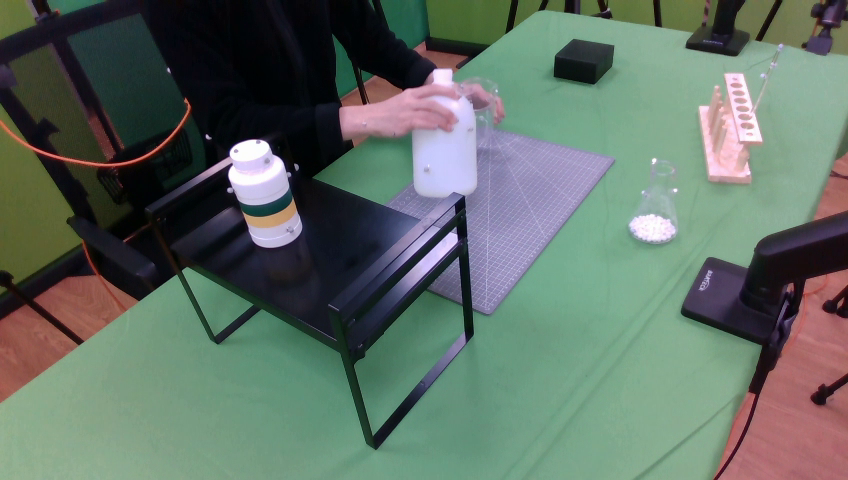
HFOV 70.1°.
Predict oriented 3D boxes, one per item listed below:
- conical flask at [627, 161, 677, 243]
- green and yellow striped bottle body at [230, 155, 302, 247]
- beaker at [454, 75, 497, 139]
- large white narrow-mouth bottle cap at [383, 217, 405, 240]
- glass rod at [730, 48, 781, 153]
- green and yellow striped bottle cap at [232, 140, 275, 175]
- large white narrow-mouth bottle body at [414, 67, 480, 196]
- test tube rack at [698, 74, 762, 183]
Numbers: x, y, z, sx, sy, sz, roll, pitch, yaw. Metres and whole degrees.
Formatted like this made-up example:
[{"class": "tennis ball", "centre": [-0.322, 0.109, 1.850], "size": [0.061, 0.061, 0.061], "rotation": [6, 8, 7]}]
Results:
[{"class": "conical flask", "centre": [0.355, -0.061, 0.921], "size": [0.075, 0.122, 0.075], "rotation": [-4, 41, 4]}, {"class": "green and yellow striped bottle body", "centre": [-0.188, -0.055, 0.714], "size": [0.063, 0.120, 0.063], "rotation": [-4, 41, 4]}, {"class": "beaker", "centre": [0.091, -0.233, 1.074], "size": [0.084, 0.100, 0.073], "rotation": [-31, 67, -11]}, {"class": "large white narrow-mouth bottle cap", "centre": [-0.051, -0.019, 1.003], "size": [0.038, 0.024, 0.037], "rotation": [-4, 39, 4]}, {"class": "glass rod", "centre": [0.554, -0.228, 1.015], "size": [0.008, 0.200, 0.008], "rotation": [1, 44, -1]}, {"class": "green and yellow striped bottle cap", "centre": [-0.192, -0.093, 0.680], "size": [0.045, 0.020, 0.045], "rotation": [-5, 39, 5]}, {"class": "large white narrow-mouth bottle body", "centre": [0.035, -0.169, 0.944], "size": [0.102, 0.194, 0.101], "rotation": [-2, 8, 1]}, {"class": "test tube rack", "centre": [0.547, -0.208, 1.095], "size": [0.066, 0.085, 0.242], "rotation": [5, 42, 15]}]
